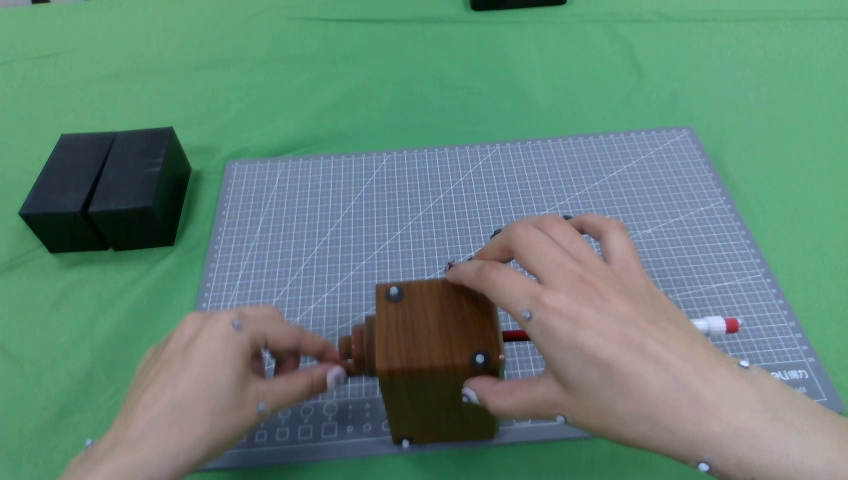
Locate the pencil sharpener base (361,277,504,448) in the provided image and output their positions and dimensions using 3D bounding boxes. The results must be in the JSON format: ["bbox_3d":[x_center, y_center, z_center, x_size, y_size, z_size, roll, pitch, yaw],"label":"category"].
[{"bbox_3d":[0.005,0.079,0.373,0.077,0.108,0.060,-5,50,0],"label":"pencil sharpener base"}]

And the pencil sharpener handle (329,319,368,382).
[{"bbox_3d":[-0.046,0.072,0.365,0.030,0.068,0.035,-5,61,0],"label":"pencil sharpener handle"}]

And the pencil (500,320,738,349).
[{"bbox_3d":[0.087,0.058,0.354,0.194,0.012,0.012,-3,49,-1],"label":"pencil"}]
